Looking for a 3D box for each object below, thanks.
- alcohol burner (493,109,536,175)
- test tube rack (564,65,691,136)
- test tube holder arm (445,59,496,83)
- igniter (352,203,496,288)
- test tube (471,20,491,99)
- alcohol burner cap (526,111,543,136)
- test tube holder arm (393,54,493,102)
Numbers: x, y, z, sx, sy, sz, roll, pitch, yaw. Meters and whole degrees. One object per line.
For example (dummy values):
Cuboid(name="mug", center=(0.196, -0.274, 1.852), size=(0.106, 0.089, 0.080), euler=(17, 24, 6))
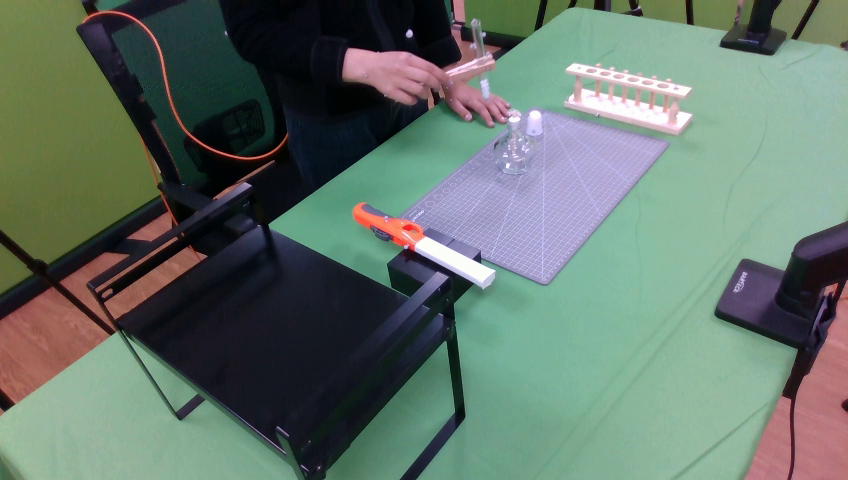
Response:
Cuboid(name="alcohol burner", center=(0.163, -0.179, 1.087), size=(0.078, 0.119, 0.077), euler=(-5, 38, 5))
Cuboid(name="test tube rack", center=(0.404, -0.288, 1.204), size=(0.240, 0.085, 0.067), euler=(24, 49, 32))
Cuboid(name="test tube holder arm", center=(0.077, -0.281, 1.009), size=(0.088, 0.015, 0.010), euler=(-15, 53, 4))
Cuboid(name="igniter", center=(-0.011, 0.002, 0.899), size=(0.274, 0.025, 0.057), euler=(27, 45, 33))
Cuboid(name="test tube", center=(0.096, -0.296, 1.006), size=(0.017, 0.151, 0.017), euler=(-7, 51, 9))
Cuboid(name="alcohol burner cap", center=(0.219, -0.232, 1.196), size=(0.034, 0.048, 0.033), euler=(-4, 40, 4))
Cuboid(name="test tube holder arm", center=(0.033, -0.270, 1.012), size=(0.178, 0.015, 0.013), euler=(-22, 52, -1))
